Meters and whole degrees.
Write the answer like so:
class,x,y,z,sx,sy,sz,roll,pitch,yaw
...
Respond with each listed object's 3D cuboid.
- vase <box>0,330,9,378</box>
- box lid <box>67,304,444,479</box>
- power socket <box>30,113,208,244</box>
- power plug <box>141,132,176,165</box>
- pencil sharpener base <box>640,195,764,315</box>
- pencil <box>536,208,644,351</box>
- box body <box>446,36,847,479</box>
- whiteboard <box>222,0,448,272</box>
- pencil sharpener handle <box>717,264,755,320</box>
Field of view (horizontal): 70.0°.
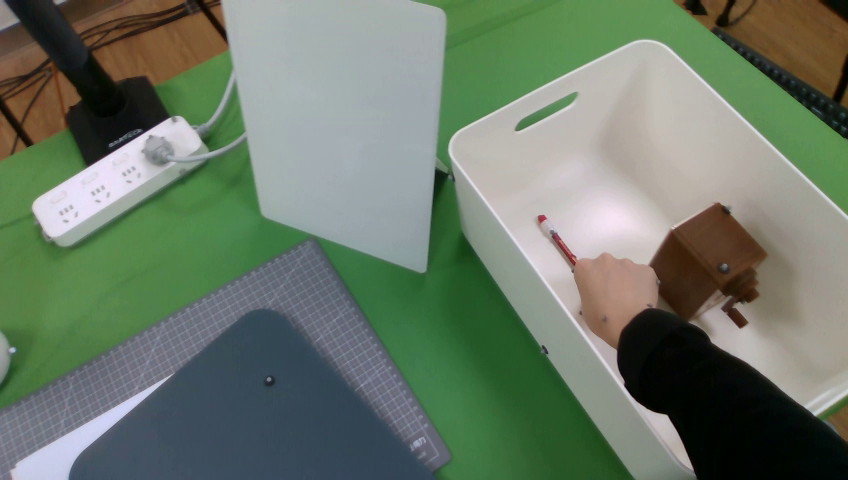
class,x,y,z,sx,sy,sz,roll,pitch,yaw
vase,-0.500,0.094,0.575,0.098,0.201,0.097,-2,62,5
box lid,-0.142,0.253,0.573,0.369,0.015,0.263,41,72,20
power socket,-0.374,-0.079,0.749,0.226,0.033,0.071,-36,67,-14
power plug,-0.317,-0.100,0.730,0.035,0.053,0.072,-27,65,-10
pencil sharpener base,0.274,0.020,0.605,0.061,0.108,0.076,-28,65,-12
pencil,0.177,0.039,0.655,0.012,0.012,0.192,-27,65,-10
box body,0.215,0.013,0.588,0.254,0.162,0.360,-29,64,-11
whiteboard,-0.065,-0.147,0.644,0.216,0.308,0.143,19,46,14
pencil sharpener handle,0.300,0.052,0.573,0.036,0.068,0.030,-30,65,-8
